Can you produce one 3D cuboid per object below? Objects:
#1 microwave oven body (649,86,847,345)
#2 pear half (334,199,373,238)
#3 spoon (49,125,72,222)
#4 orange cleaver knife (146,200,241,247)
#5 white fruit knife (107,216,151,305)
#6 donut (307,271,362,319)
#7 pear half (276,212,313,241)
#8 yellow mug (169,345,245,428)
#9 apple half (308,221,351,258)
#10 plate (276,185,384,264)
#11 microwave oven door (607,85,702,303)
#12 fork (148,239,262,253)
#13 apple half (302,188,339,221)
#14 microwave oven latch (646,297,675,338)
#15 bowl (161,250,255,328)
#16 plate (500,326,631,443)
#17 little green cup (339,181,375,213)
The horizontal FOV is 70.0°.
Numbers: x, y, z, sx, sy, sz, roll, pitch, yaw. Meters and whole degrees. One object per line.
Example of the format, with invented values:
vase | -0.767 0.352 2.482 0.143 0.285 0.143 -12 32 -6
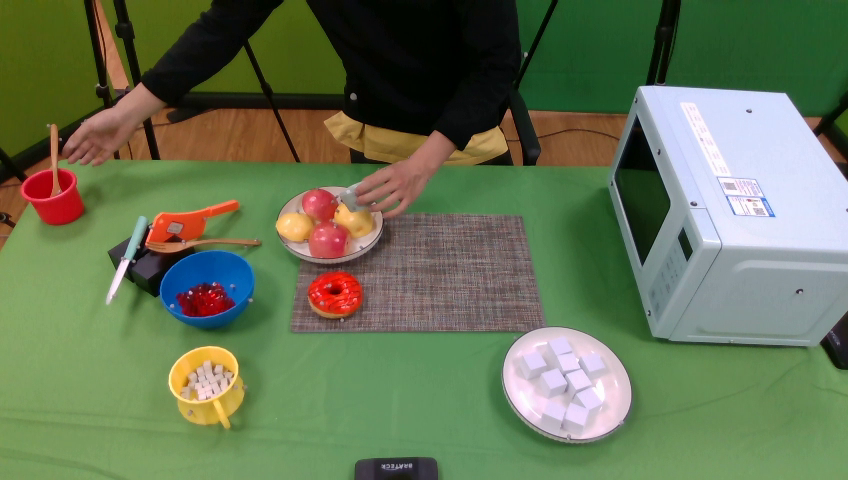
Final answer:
microwave oven body | 0.568 -0.053 1.118 0.326 0.261 0.439 2 45 -1
pear half | -0.147 -0.059 1.210 0.076 0.056 0.109 -16 45 -25
spoon | -0.717 -0.131 1.189 0.041 0.021 0.193 -3 90 -6
orange cleaver knife | -0.435 -0.033 1.157 0.012 0.077 0.211 31 26 19
white fruit knife | -0.518 0.032 1.066 0.027 0.016 0.206 -18 45 19
donut | -0.157 0.097 1.072 0.099 0.048 0.098 4 45 -4
pear half | -0.245 -0.035 1.178 0.070 0.031 0.088 40 41 1
yellow mug | -0.322 0.230 0.922 0.100 0.064 0.130 -24 53 -25
apple half | -0.180 -0.005 1.150 0.074 0.053 0.080 14 43 9
plate | -0.184 -0.027 1.194 0.209 0.038 0.208 2 46 -2
microwave oven door | 0.423 -0.094 1.140 0.039 0.245 0.353 2 46 -1
fork | -0.398 0.008 1.117 0.208 0.019 0.028 -5 34 -37
apple half | -0.205 -0.076 1.216 0.081 0.033 0.081 18 46 -19
microwave oven latch | 0.412 0.134 1.061 0.030 0.029 0.078 4 45 1
bowl | -0.362 0.097 1.040 0.151 0.077 0.150 2 45 -2
plate | 0.224 0.234 0.978 0.208 0.039 0.206 2 46 -2
little green cup | -0.120 -0.078 1.111 0.061 0.039 0.061 -20 17 7
